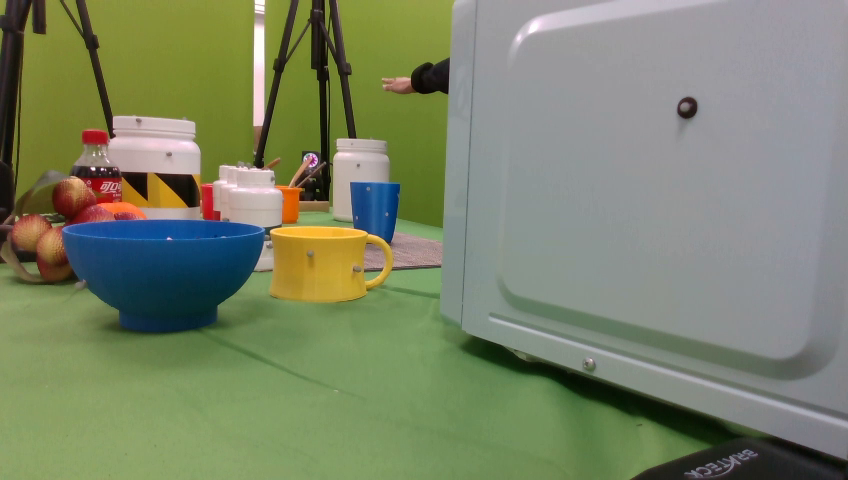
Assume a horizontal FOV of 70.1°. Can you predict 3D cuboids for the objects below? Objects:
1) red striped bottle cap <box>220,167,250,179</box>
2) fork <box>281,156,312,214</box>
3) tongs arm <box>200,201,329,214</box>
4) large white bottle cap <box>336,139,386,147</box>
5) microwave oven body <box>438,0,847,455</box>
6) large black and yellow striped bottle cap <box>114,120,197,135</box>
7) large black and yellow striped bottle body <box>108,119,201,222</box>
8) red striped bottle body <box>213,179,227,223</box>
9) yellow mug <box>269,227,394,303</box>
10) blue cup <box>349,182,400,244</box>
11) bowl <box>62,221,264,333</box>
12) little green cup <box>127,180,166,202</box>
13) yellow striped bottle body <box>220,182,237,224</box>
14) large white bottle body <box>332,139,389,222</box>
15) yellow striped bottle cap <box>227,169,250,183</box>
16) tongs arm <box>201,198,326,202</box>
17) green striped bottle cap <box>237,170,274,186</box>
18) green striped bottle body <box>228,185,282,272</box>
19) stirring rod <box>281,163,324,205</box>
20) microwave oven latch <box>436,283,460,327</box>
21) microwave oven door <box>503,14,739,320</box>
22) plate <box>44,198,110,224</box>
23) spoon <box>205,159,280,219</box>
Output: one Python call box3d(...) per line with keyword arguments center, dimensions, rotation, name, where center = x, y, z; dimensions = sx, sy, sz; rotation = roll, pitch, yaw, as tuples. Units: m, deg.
box3d(center=(-0.281, -0.100, 0.901), dimensions=(0.044, 0.017, 0.044), rotation=(-1, 5, 0), name="red striped bottle cap")
box3d(center=(-0.289, -0.116, 1.320), dimensions=(0.028, 0.019, 0.207), rotation=(0, 49, 25), name="fork")
box3d(center=(-0.378, -0.079, 1.440), dimensions=(0.387, 0.026, 0.050), rotation=(-4, 7, -44), name="tongs arm")
box3d(center=(-0.143, -0.219, 1.375), dimensions=(0.115, 0.018, 0.115), rotation=(2, 8, 0), name="large white bottle cap")
box3d(center=(0.280, -0.039, 0.464), dimensions=(0.444, 0.260, 0.324), rotation=(-3, 8, -41), name="microwave oven body")
box3d(center=(-0.407, -0.171, 0.920), dimensions=(0.115, 0.019, 0.115), rotation=(2, 9, 0), name="large black and yellow striped bottle cap")
box3d(center=(-0.412, -0.088, 0.930), dimensions=(0.131, 0.184, 0.130), rotation=(3, 7, 0), name="large black and yellow striped bottle body")
box3d(center=(-0.284, -0.048, 0.909), dimensions=(0.063, 0.119, 0.063), rotation=(3, 12, 0), name="red striped bottle body")
box3d(center=(-0.094, 0.023, 0.629), dimensions=(0.131, 0.064, 0.099), rotation=(0, 7, -22), name="yellow mug")
box3d(center=(-0.083, -0.046, 1.009), dimensions=(0.093, 0.100, 0.092), rotation=(1, 6, 0), name="blue cup")
box3d(center=(-0.209, 0.029, 0.496), dimensions=(0.151, 0.077, 0.151), rotation=(2, 6, 0), name="bowl")
box3d(center=(-0.486, -0.086, 1.061), dimensions=(0.061, 0.038, 0.061), rotation=(1, 7, 0), name="little green cup")
box3d(center=(-0.246, -0.036, 0.825), dimensions=(0.063, 0.120, 0.063), rotation=(3, 8, 0), name="yellow striped bottle body")
box3d(center=(-0.145, -0.136, 1.387), dimensions=(0.131, 0.184, 0.130), rotation=(2, 7, 0), name="large white bottle body")
box3d(center=(-0.243, -0.087, 0.818), dimensions=(0.044, 0.018, 0.044), rotation=(3, 6, 0), name="yellow striped bottle cap")
box3d(center=(-0.433, -0.089, 1.508), dimensions=(0.390, 0.028, 0.028), rotation=(-1, 2, -29), name="tongs arm")
box3d(center=(-0.205, -0.075, 0.737), dimensions=(0.044, 0.020, 0.044), rotation=(1, 6, 0), name="green striped bottle cap")
box3d(center=(-0.208, -0.023, 0.745), dimensions=(0.063, 0.119, 0.063), rotation=(3, 7, 0), name="green striped bottle body")
box3d(center=(-0.278, -0.105, 1.294), dimensions=(0.176, 0.006, 0.014), rotation=(-47, 25, -18), name="stirring rod")
box3d(center=(0.045, 0.047, 0.471), dimensions=(0.079, 0.029, 0.030), rotation=(-3, 8, -41), name="microwave oven latch")
box3d(center=(0.218, -0.065, 0.600), dimensions=(0.358, 0.243, 0.039), rotation=(-4, 10, -41), name="microwave oven door")
box3d(center=(-0.617, -0.056, 1.179), dimensions=(0.209, 0.038, 0.209), rotation=(3, 7, 0), name="plate")
box3d(center=(-0.365, -0.103, 1.214), dimensions=(0.193, 0.021, 0.041), rotation=(-42, 4, 6), name="spoon")
